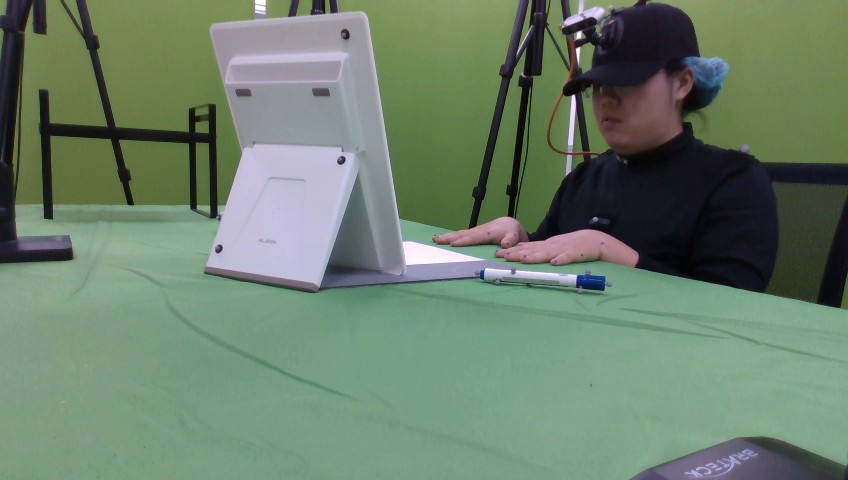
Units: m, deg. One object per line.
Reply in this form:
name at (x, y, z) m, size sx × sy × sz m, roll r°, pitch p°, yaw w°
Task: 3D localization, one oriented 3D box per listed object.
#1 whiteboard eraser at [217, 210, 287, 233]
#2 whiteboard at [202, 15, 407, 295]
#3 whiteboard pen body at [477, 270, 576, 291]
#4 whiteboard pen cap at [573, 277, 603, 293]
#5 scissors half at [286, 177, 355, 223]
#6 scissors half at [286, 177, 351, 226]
whiteboard eraser at (-0.310, -0.034, 1.094) m, size 0.113 × 0.042 × 0.055 m, roll -2°, pitch 11°, yaw -38°
whiteboard at (-0.166, -0.073, 0.668) m, size 0.216 × 0.305 × 0.144 m, roll 7°, pitch 30°, yaw 28°
whiteboard pen body at (0.131, 0.048, 0.706) m, size 0.140 × 0.017 × 0.017 m, roll 4°, pitch 8°, yaw 18°
whiteboard pen cap at (0.186, 0.051, 0.687) m, size 0.033 × 0.018 × 0.018 m, roll 4°, pitch 8°, yaw 17°
scissors half at (-0.229, -0.091, 1.337) m, size 0.175 × 0.013 × 0.040 m, roll 33°, pitch 14°, yaw -13°
scissors half at (-0.232, -0.085, 1.317) m, size 0.175 × 0.013 × 0.040 m, roll 37°, pitch 19°, yaw 4°
